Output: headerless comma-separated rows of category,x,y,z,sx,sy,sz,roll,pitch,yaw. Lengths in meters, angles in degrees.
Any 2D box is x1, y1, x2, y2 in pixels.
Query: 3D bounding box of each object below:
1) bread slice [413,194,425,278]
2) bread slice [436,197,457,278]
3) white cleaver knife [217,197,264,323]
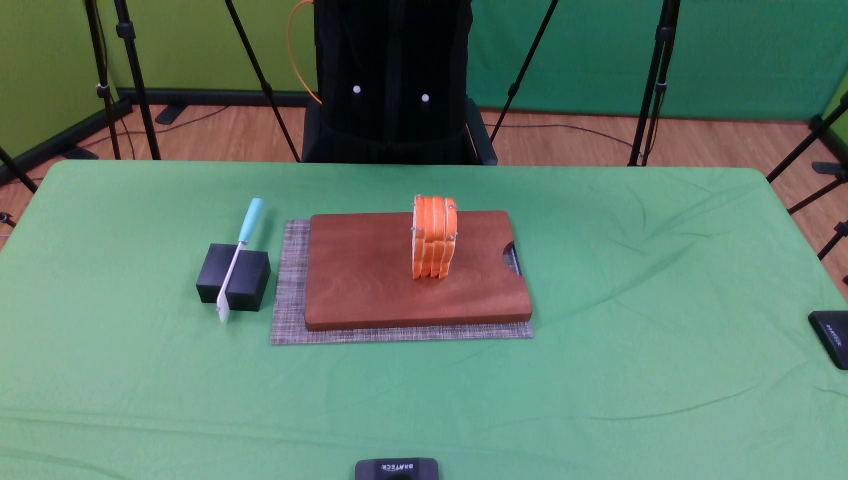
bread slice,-0.010,-0.015,1.095,0.018,0.135,0.106,0,43,-3
bread slice,0.040,-0.010,1.097,0.019,0.132,0.104,4,48,-7
white cleaver knife,-0.341,0.027,1.118,0.021,0.066,0.284,9,45,-4
